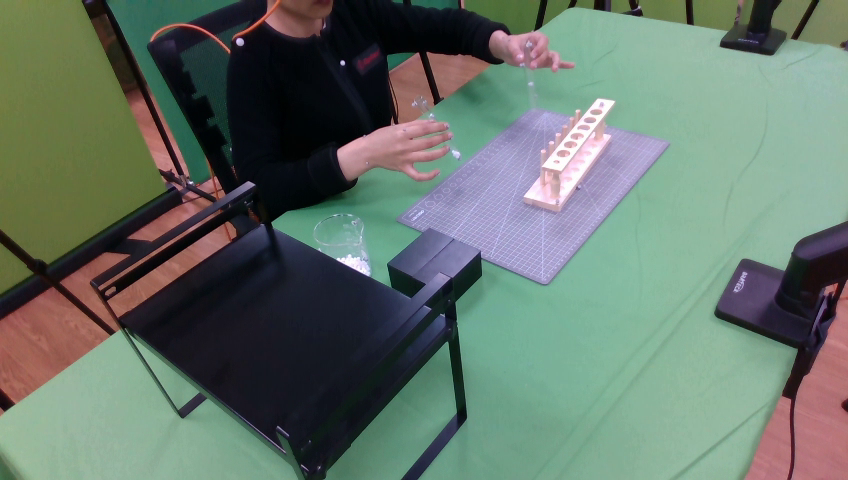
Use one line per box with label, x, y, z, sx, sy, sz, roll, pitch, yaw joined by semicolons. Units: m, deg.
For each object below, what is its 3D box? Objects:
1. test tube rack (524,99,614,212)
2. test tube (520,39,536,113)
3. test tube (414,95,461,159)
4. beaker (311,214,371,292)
test tube rack;0.259;-0.158;1.069;0.066;0.085;0.243;19;47;28
test tube;0.194;-0.301;1.125;0.017;0.151;0.017;-9;42;9
test tube;0.026;-0.189;1.032;0.017;0.151;0.017;-19;47;22
beaker;-0.118;0.022;0.908;0.083;0.101;0.074;26;51;32
